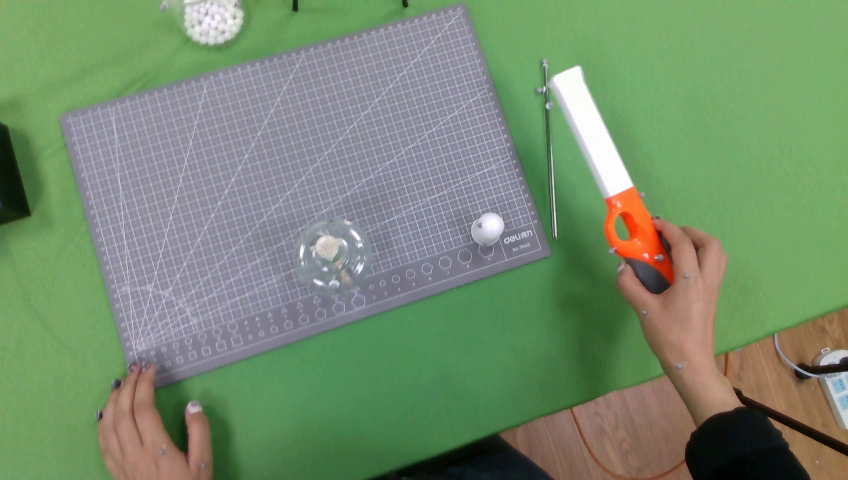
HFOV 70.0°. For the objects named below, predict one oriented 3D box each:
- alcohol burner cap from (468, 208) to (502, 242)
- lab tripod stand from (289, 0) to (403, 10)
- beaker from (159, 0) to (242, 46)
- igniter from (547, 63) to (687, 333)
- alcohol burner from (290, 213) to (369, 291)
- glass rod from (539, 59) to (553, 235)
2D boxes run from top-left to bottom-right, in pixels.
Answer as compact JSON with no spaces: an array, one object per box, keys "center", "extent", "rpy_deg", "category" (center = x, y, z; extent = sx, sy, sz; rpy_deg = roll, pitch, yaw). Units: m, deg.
[{"center":[0.066,-0.016,0.634],"extent":[0.034,0.048,0.033],"rpy_deg":[1,82,-3],"category":"alcohol burner cap"},{"center":[-0.086,-0.308,0.613],"extent":[0.148,0.132,0.148],"rpy_deg":[0,82,-2],"category":"lab tripod stand"},{"center":[-0.227,-0.248,0.612],"extent":[0.084,0.100,0.074],"rpy_deg":[28,82,-1],"category":"beaker"},{"center":[0.191,-0.040,0.593],"extent":[0.057,0.025,0.276],"rpy_deg":[-25,91,-13],"category":"igniter"},{"center":[-0.092,0.009,0.582],"extent":[0.078,0.119,0.077],"rpy_deg":[1,81,-4],"category":"alcohol burner"},{"center":[0.134,-0.104,0.669],"extent":[0.008,0.008,0.199],"rpy_deg":[-1,83,-5],"category":"glass rod"}]
